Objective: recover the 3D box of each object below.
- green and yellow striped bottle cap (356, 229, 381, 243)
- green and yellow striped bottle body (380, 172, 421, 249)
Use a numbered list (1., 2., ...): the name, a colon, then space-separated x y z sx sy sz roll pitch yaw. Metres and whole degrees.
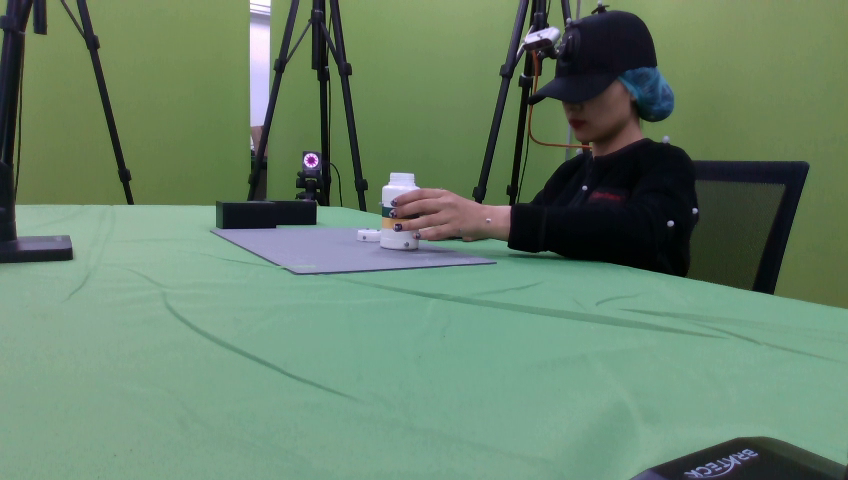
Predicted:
1. green and yellow striped bottle cap: -0.094 -0.007 1.040 0.045 0.020 0.045 4 6 0
2. green and yellow striped bottle body: -0.037 -0.048 0.959 0.063 0.119 0.063 3 7 0
